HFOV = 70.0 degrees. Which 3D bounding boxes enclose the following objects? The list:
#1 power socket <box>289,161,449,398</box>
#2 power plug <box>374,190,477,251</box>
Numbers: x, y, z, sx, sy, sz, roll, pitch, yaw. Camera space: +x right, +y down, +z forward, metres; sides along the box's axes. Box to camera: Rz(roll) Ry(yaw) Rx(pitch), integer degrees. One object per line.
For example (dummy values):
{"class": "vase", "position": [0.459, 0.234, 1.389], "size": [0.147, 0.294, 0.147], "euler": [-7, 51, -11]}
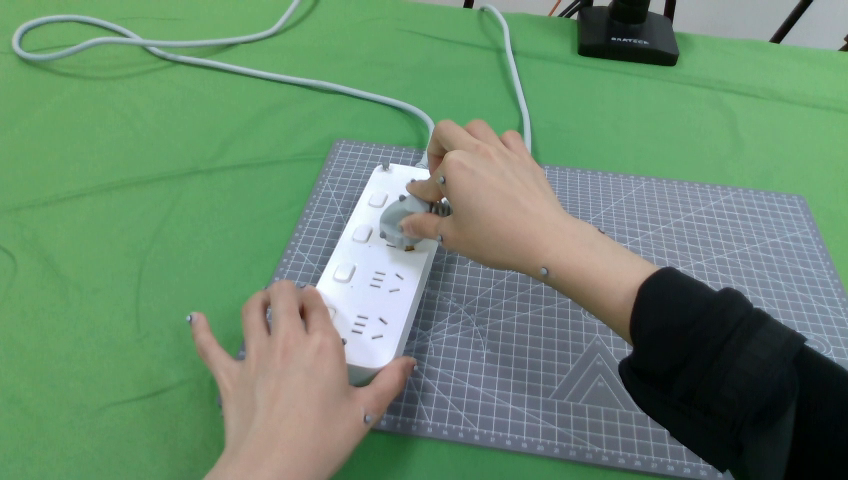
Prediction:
{"class": "power socket", "position": [-0.034, 0.016, 0.464], "size": [0.072, 0.033, 0.225], "euler": [13, 46, 7]}
{"class": "power plug", "position": [-0.002, -0.008, 0.444], "size": [0.072, 0.053, 0.035], "euler": [18, 48, 14]}
